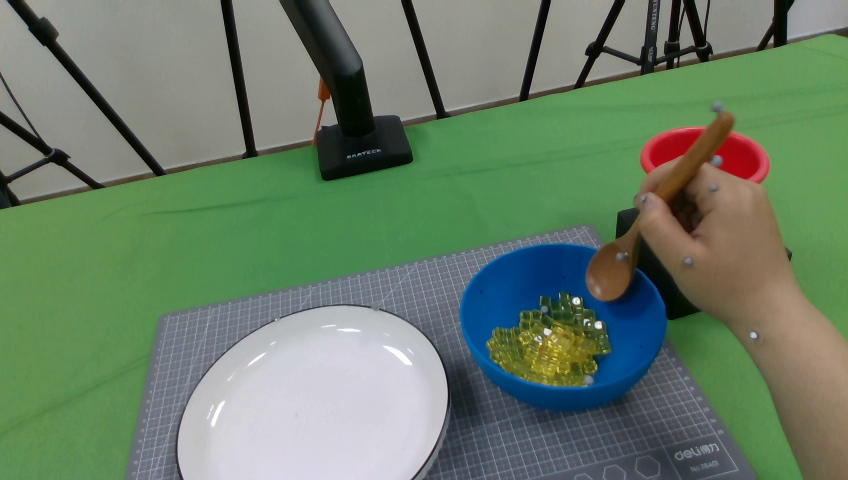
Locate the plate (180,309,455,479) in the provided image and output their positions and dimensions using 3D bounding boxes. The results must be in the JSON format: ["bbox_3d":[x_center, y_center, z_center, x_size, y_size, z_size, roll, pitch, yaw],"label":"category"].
[{"bbox_3d":[-0.078,0.140,0.470,0.207,0.039,0.205,-5,39,5],"label":"plate"}]

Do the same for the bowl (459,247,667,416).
[{"bbox_3d":[0.105,0.082,0.473,0.151,0.077,0.150,-5,39,5],"label":"bowl"}]

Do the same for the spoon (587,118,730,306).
[{"bbox_3d":[0.150,-0.010,0.407,0.022,0.195,0.041,-11,60,-11],"label":"spoon"}]
